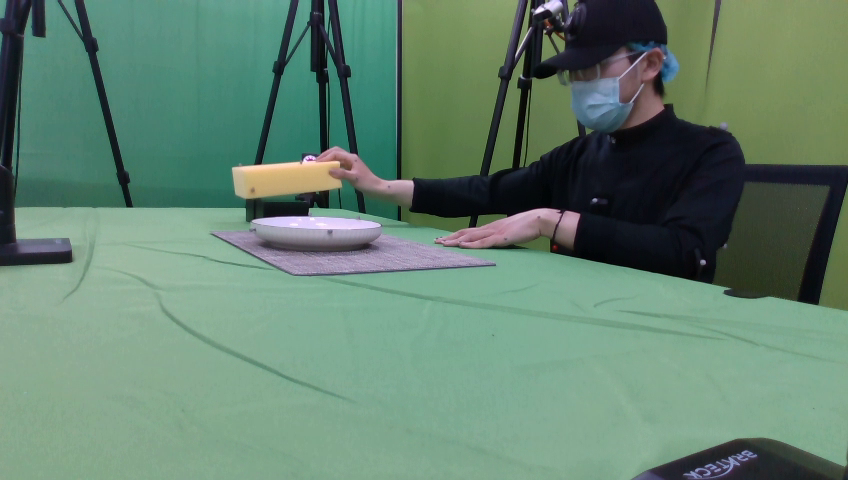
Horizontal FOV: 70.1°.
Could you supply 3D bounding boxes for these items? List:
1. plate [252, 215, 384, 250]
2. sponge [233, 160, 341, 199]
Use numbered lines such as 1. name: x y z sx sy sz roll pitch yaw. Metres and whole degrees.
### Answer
1. plate: -0.169 -0.012 0.976 0.208 0.039 0.207 2 7 0
2. sponge: -0.296 -0.133 1.304 0.208 0.061 0.117 -10 12 -27
